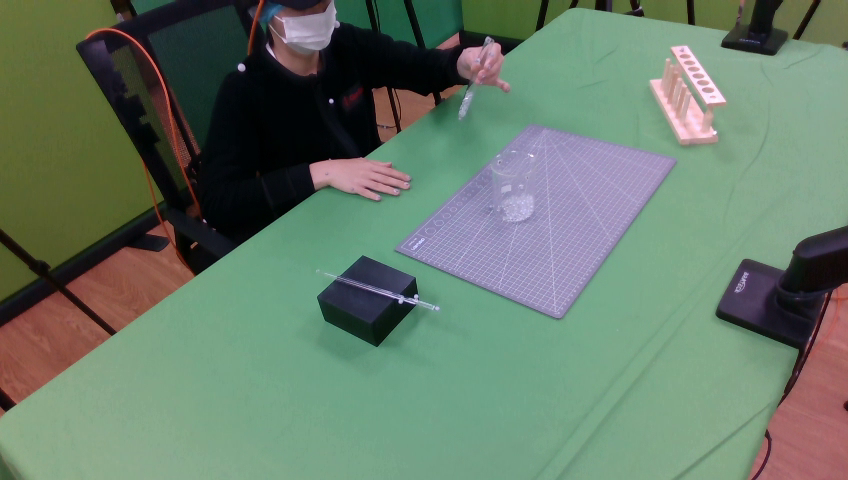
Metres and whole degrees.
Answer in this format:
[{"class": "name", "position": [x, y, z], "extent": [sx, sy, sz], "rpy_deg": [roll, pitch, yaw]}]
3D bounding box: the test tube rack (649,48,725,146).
[{"class": "test tube rack", "position": [0.508, -0.285, 1.186], "extent": [0.067, 0.085, 0.241], "rpy_deg": [-4, 40, 6]}]

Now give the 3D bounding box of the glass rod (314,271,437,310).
[{"class": "glass rod", "position": [-0.072, 0.069, 0.837], "extent": [0.198, 0.008, 0.008], "rpy_deg": [14, 44, 24]}]

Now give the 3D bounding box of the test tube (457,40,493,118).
[{"class": "test tube", "position": [0.085, -0.270, 1.029], "extent": [0.017, 0.150, 0.017], "rpy_deg": [11, 44, -11]}]

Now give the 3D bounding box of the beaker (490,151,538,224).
[{"class": "beaker", "position": [0.151, -0.084, 0.988], "extent": [0.084, 0.101, 0.073], "rpy_deg": [-24, 43, -20]}]
